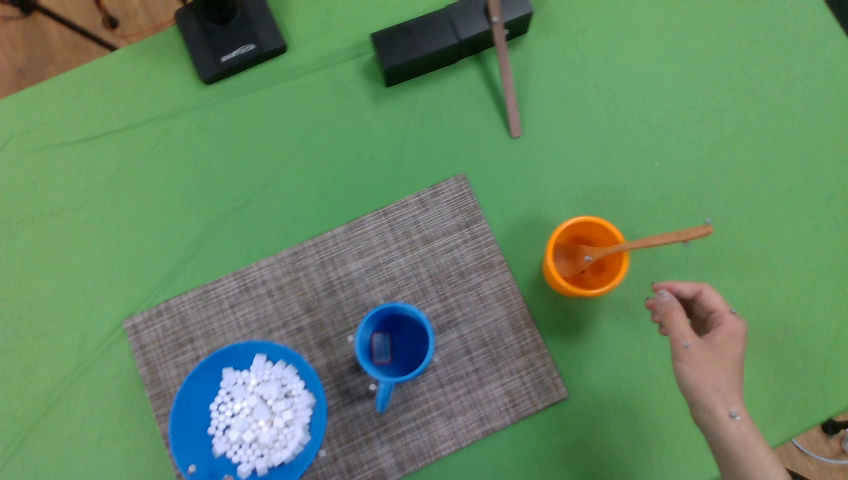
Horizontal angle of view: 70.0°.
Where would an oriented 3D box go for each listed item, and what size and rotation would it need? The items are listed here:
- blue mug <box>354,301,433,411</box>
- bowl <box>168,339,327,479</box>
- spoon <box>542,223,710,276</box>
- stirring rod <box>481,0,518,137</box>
[{"bbox_3d":[-0.035,0.130,0.667,0.082,0.106,0.116,13,79,3],"label":"blue mug"},{"bbox_3d":[-0.169,0.181,0.615,0.151,0.077,0.150,0,71,-1],"label":"bowl"},{"bbox_3d":[0.217,0.008,0.673,0.022,0.193,0.041,8,73,-44],"label":"spoon"},{"bbox_3d":[0.095,-0.217,0.759,0.014,0.006,0.176,-15,101,-8],"label":"stirring rod"}]
